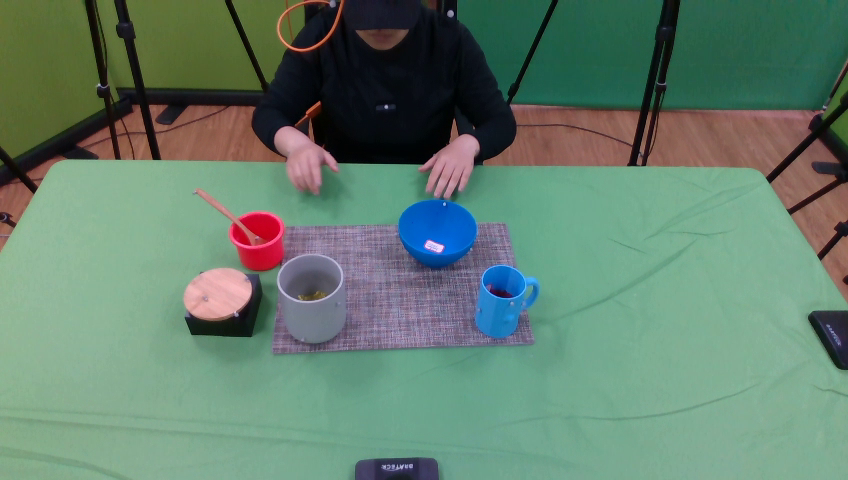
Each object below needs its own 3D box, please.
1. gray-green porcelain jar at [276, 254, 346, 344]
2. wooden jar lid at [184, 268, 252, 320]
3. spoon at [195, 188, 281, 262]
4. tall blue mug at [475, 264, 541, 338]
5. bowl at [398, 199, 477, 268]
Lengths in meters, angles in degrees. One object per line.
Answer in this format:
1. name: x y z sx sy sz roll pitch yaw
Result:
1. gray-green porcelain jar: -0.184 0.102 1.007 0.106 0.127 0.105 2 46 -2
2. wooden jar lid: -0.343 0.092 1.015 0.108 0.021 0.107 3 46 -3
3. spoon: -0.342 -0.028 1.117 0.194 0.021 0.041 48 49 -20
4. tall blue mug: 0.141 0.098 1.047 0.077 0.108 0.107 33 53 27
5. bowl: 0.024 0.000 1.156 0.151 0.077 0.150 2 46 -2
